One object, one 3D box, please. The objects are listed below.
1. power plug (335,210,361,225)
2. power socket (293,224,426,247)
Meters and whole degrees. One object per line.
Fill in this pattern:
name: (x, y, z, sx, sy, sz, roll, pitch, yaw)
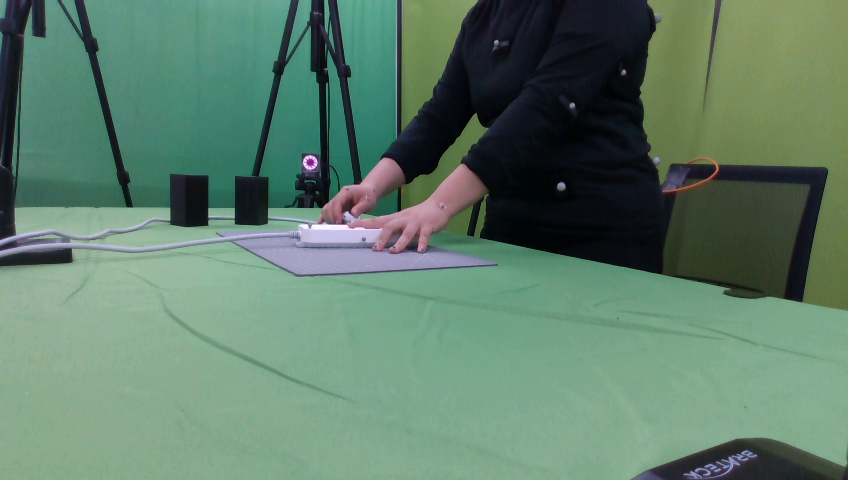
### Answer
power plug: (-0.136, -0.035, 1.132, 0.035, 0.053, 0.072, -41, 20, 0)
power socket: (-0.103, -0.008, 1.003, 0.228, 0.032, 0.072, 0, 7, -22)
